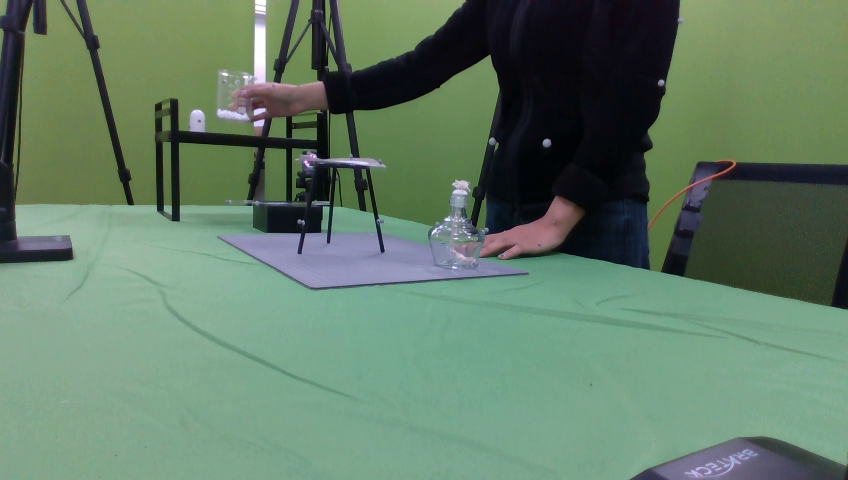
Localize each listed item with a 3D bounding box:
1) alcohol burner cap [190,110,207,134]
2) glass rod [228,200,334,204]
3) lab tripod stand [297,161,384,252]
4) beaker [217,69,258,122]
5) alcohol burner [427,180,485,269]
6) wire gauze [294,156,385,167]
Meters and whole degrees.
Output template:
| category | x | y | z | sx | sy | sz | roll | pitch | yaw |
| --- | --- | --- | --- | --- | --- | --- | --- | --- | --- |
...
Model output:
| category | x | y | z | sx | sy | sz | roll | pitch | yaw |
| --- | --- | --- | --- | --- | --- | --- | --- | --- | --- |
| alcohol burner cap | -0.463 | -0.242 | 1.240 | 0.034 | 0.048 | 0.034 | 1 | 7 | 0 |
| glass rod | -0.267 | -0.071 | 1.148 | 0.201 | 0.008 | 0.008 | -1 | 8 | -28 |
| lab tripod stand | -0.130 | -0.051 | 0.903 | 0.148 | 0.131 | 0.148 | 3 | 9 | 0 |
| beaker | -0.391 | -0.299 | 1.264 | 0.084 | 0.100 | 0.074 | 5 | 8 | -3 |
| alcohol burner | 0.044 | -0.021 | 0.807 | 0.078 | 0.119 | 0.078 | 4 | 6 | 0 |
| wire gauze | -0.128 | -0.118 | 0.901 | 0.125 | 0.011 | 0.121 | 0 | 8 | -14 |
